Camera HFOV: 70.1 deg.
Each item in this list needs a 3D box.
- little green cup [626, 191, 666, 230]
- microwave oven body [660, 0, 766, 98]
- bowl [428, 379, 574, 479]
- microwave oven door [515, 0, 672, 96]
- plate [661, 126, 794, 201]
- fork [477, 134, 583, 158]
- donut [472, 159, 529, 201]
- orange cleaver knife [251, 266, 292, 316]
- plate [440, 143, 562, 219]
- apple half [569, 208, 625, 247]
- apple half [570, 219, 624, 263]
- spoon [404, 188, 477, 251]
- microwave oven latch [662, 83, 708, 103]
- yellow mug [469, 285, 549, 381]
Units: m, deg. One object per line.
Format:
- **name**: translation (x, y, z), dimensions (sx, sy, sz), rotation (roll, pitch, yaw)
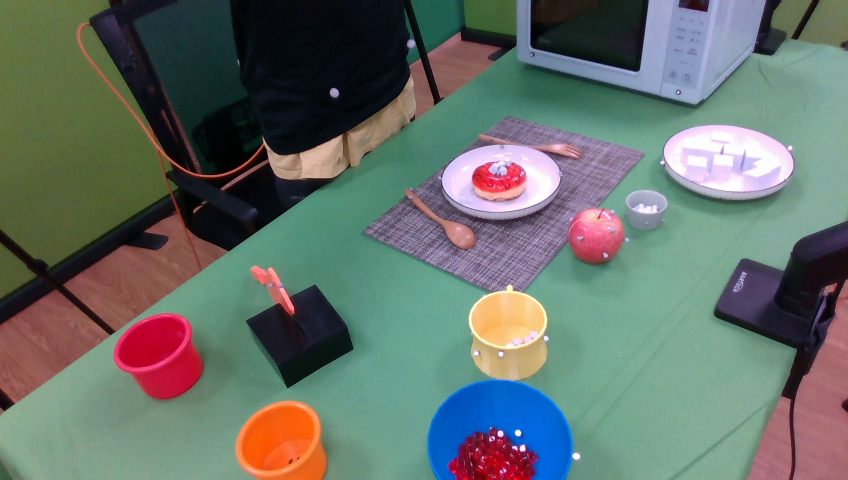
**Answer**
- **little green cup**: translation (0.352, -0.046, 0.963), dimensions (0.061, 0.039, 0.061), rotation (-4, 40, 4)
- **microwave oven body**: translation (0.472, -0.513, 1.317), dimensions (0.438, 0.261, 0.327), rotation (26, 51, 34)
- **bowl**: translation (0.082, 0.233, 0.644), dimensions (0.151, 0.077, 0.150), rotation (-4, 40, 4)
- **microwave oven door**: translation (0.344, -0.455, 1.259), dimensions (0.353, 0.245, 0.039), rotation (26, 51, 33)
- **plate**: translation (0.513, -0.128, 1.035), dimensions (0.207, 0.039, 0.206), rotation (-4, 40, 4)
- **fork**: translation (0.199, -0.182, 1.155), dimensions (0.206, 0.019, 0.028), rotation (12, 55, 22)
- **donut**: translation (0.132, -0.105, 1.044), dimensions (0.099, 0.048, 0.098), rotation (-5, 38, 5)
- **orange cleaver knife**: translation (-0.221, 0.071, 0.873), dimensions (0.012, 0.077, 0.210), rotation (-25, 11, -21)
- **plate**: translation (0.134, -0.098, 1.052), dimensions (0.209, 0.038, 0.208), rotation (-4, 40, 4)
- **apple half**: translation (0.262, -0.014, 0.913), dimensions (0.080, 0.075, 0.053), rotation (4, 37, 20)
- **apple half**: translation (0.250, 0.010, 0.885), dimensions (0.081, 0.081, 0.033), rotation (7, 39, 17)
- **spoon**: translation (0.020, -0.039, 1.019), dimensions (0.042, 0.022, 0.192), rotation (-30, 45, -23)
- **microwave oven latch**: translation (0.518, -0.296, 1.205), dimensions (0.078, 0.029, 0.030), rotation (27, 52, 35)
- **yellow mug**: translation (0.112, 0.112, 0.792), dimensions (0.100, 0.064, 0.130), rotation (0, 40, 9)
